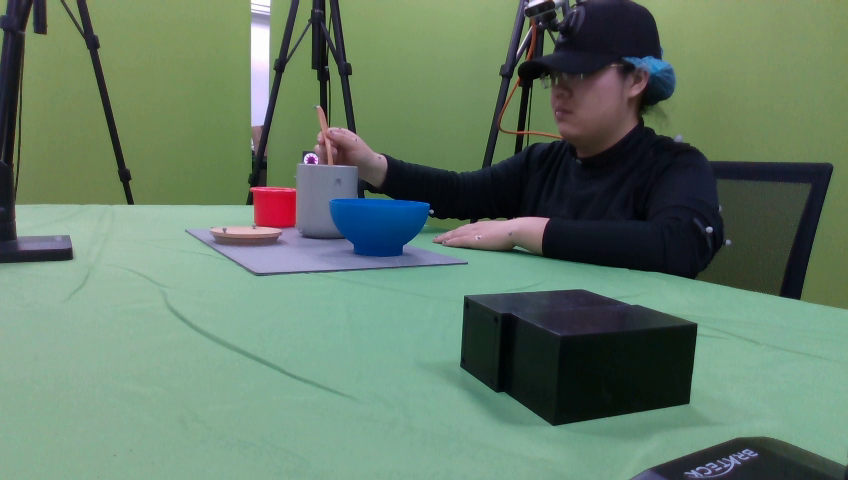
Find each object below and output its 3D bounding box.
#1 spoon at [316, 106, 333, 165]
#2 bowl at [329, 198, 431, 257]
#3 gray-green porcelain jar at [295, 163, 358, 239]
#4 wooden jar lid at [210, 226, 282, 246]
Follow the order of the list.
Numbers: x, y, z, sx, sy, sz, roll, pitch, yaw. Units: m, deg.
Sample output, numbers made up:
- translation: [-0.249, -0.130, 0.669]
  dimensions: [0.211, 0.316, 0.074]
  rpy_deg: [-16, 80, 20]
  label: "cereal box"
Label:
- translation: [-0.170, -0.151, 1.075]
  dimensions: [0.042, 0.193, 0.021]
  rpy_deg: [-1, -14, -35]
  label: "spoon"
- translation: [-0.067, -0.019, 0.894]
  dimensions: [0.151, 0.077, 0.151]
  rpy_deg: [3, 7, 0]
  label: "bowl"
- translation: [-0.170, -0.069, 1.054]
  dimensions: [0.106, 0.126, 0.106]
  rpy_deg: [3, 7, 0]
  label: "gray-green porcelain jar"
- translation: [-0.279, -0.006, 0.951]
  dimensions: [0.108, 0.020, 0.108]
  rpy_deg: [2, 8, 0]
  label: "wooden jar lid"
